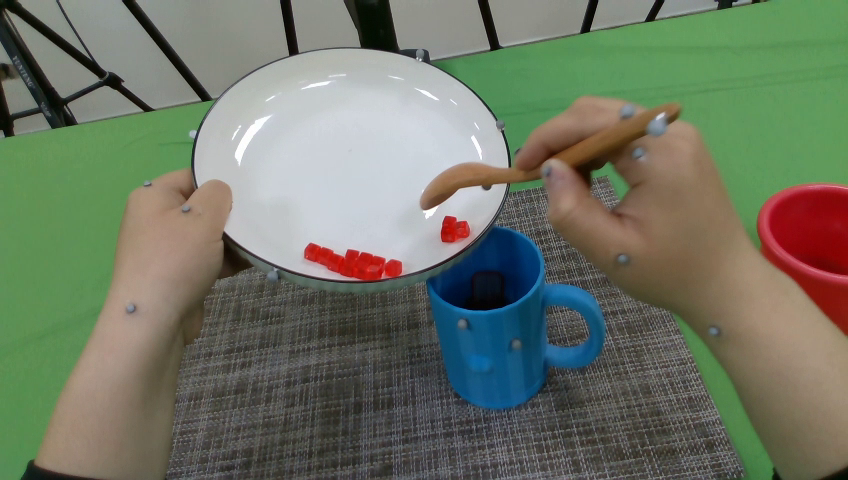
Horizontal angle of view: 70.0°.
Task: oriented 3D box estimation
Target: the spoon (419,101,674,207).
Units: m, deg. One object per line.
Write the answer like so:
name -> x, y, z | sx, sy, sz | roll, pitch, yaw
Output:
spoon -> 0.049, -0.038, 0.305 | 0.041, 0.022, 0.193 | -30, 11, -26

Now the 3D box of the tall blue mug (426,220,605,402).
tall blue mug -> 0.061, 0.047, 0.417 | 0.107, 0.109, 0.077 | -14, 44, -1

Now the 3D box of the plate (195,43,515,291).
plate -> -0.043, -0.052, 0.412 | 0.208, 0.039, 0.205 | 3, 56, -4
